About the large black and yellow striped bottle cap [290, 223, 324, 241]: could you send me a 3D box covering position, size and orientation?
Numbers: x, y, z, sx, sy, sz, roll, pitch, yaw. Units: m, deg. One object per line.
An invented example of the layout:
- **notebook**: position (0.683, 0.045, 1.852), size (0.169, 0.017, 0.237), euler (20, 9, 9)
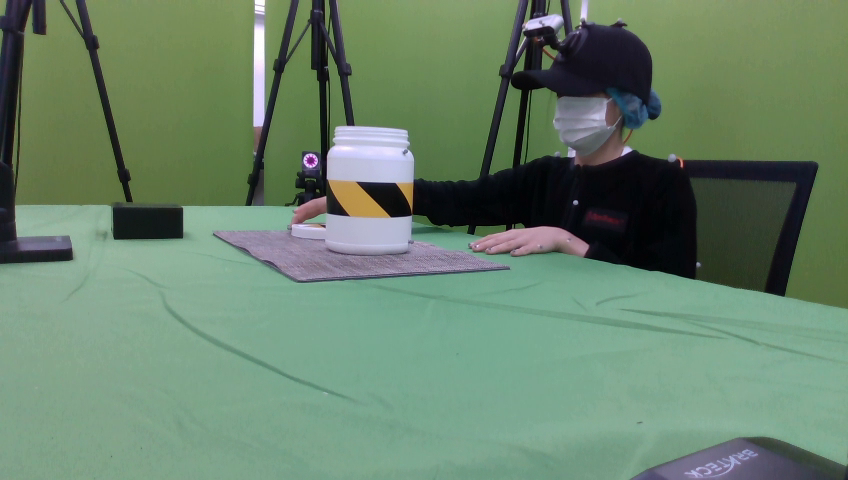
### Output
- **large black and yellow striped bottle cap**: position (-0.178, -0.015, 1.068), size (0.115, 0.019, 0.115), euler (2, 8, 0)

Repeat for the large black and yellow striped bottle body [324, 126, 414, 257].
- **large black and yellow striped bottle body**: position (-0.082, -0.074, 0.904), size (0.131, 0.184, 0.130), euler (3, 7, 0)
